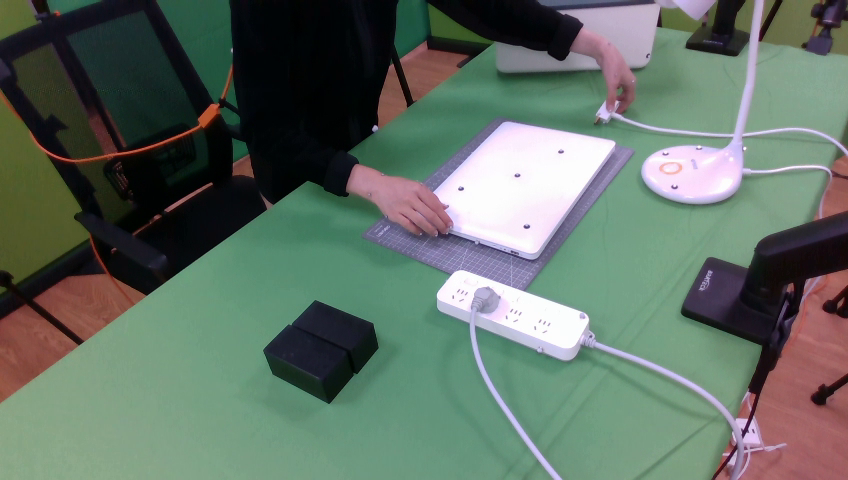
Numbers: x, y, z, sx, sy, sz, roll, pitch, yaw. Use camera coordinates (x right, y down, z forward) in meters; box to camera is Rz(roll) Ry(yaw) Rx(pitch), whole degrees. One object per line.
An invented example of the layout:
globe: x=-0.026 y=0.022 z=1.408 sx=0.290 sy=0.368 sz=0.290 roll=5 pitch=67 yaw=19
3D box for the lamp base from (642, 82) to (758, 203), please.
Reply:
lamp base: x=0.464 y=-0.174 z=0.992 sx=0.179 sy=0.181 sz=0.159 roll=-5 pitch=41 yaw=-2

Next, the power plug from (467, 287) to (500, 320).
power plug: x=0.073 y=0.092 z=0.814 sx=0.035 sy=0.053 sz=0.073 roll=29 pitch=54 yaw=34

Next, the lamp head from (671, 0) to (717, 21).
lamp head: x=0.375 y=-0.373 z=0.807 sx=0.122 sy=0.113 sz=0.112 roll=-40 pitch=27 yaw=32

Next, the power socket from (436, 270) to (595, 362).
power socket: x=0.118 y=0.101 z=0.832 sx=0.225 sy=0.033 sz=0.072 roll=19 pitch=48 yaw=27

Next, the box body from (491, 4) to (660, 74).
box body: x=0.346 y=-0.520 z=1.429 sx=0.363 sy=0.161 sz=0.253 roll=0 pitch=41 yaw=9

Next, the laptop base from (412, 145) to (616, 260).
laptop base: x=0.168 y=-0.101 z=1.072 sx=0.234 sy=0.023 sz=0.355 roll=17 pitch=45 yaw=30

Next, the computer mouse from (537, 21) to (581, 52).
computer mouse: x=0.335 y=-0.503 z=1.487 sx=0.118 sy=0.041 sz=0.062 roll=22 pitch=20 yaw=-28

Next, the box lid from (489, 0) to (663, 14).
box lid: x=0.340 y=-0.575 z=1.380 sx=0.371 sy=0.015 sz=0.262 roll=0 pitch=41 yaw=9

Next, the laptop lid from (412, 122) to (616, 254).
laptop lid: x=0.165 y=-0.110 z=1.066 sx=0.240 sy=0.013 sz=0.357 roll=19 pitch=46 yaw=31

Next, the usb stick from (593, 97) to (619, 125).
usb stick: x=0.362 y=-0.252 z=1.207 sx=0.027 sy=0.021 sz=0.059 roll=37 pitch=93 yaw=22
